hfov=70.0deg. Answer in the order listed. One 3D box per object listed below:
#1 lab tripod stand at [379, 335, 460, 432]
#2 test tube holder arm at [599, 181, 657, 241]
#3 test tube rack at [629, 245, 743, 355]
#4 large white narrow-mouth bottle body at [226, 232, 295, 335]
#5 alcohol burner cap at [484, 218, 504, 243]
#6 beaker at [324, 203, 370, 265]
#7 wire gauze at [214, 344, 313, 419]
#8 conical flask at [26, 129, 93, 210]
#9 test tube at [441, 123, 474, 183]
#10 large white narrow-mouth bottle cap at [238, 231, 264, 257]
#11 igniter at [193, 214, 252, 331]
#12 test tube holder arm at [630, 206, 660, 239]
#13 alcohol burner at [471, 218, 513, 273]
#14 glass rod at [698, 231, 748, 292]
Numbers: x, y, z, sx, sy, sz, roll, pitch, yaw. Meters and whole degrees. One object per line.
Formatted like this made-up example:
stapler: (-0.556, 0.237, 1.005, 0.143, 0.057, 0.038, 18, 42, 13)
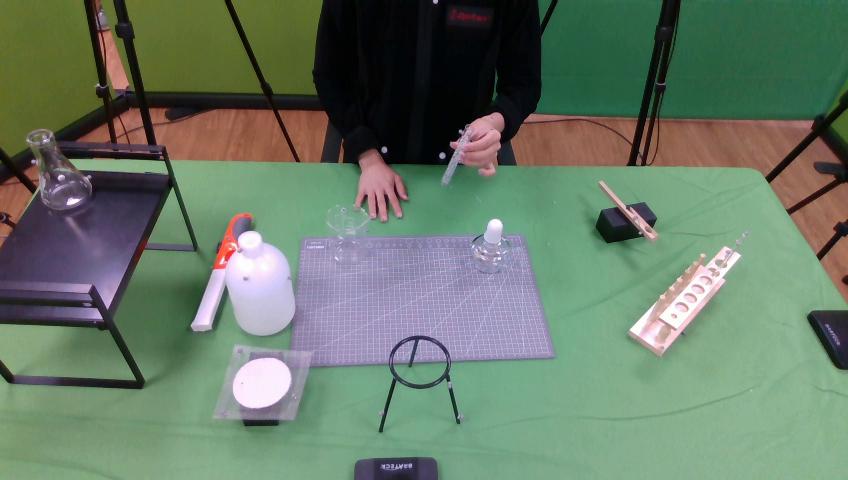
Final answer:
lab tripod stand: (-0.011, 0.214, 0.911, 0.148, 0.132, 0.147, 1, 45, 0)
test tube holder arm: (0.407, -0.062, 1.219, 0.013, 0.015, 0.177, -23, 51, -13)
test tube rack: (0.474, 0.095, 1.091, 0.242, 0.085, 0.066, -34, 56, -31)
large white narrow-mouth bottle body: (-0.270, 0.065, 0.995, 0.102, 0.195, 0.101, 2, 46, -2)
alcohol burner cap: (0.130, -0.021, 1.106, 0.034, 0.048, 0.033, 3, 51, -4)
beaker: (-0.142, -0.009, 1.137, 0.084, 0.101, 0.073, -3, 47, -7)
wire gauze: (-0.241, 0.213, 0.915, 0.121, 0.011, 0.124, 5, 46, 1)
conical flask: (-0.575, -0.113, 0.946, 0.075, 0.122, 0.075, 2, 46, -2)
test tube: (0.057, -0.150, 1.069, 0.017, 0.151, 0.017, 9, 55, -13)
large white narrow-mouth bottle cap: (-0.266, 0.006, 0.932, 0.038, 0.024, 0.037, 2, 46, -2)
igniter: (-0.368, 0.050, 1.119, 0.057, 0.025, 0.275, -3, 46, 8)
test tube holder arm: (0.431, -0.034, 1.192, 0.010, 0.015, 0.087, -23, 51, -12)
alcohol burner: (0.128, 0.005, 1.132, 0.078, 0.120, 0.077, 0, 47, 0)
glass rod: (0.514, 0.044, 1.051, 0.008, 0.200, 0.008, 1, 55, -1)
